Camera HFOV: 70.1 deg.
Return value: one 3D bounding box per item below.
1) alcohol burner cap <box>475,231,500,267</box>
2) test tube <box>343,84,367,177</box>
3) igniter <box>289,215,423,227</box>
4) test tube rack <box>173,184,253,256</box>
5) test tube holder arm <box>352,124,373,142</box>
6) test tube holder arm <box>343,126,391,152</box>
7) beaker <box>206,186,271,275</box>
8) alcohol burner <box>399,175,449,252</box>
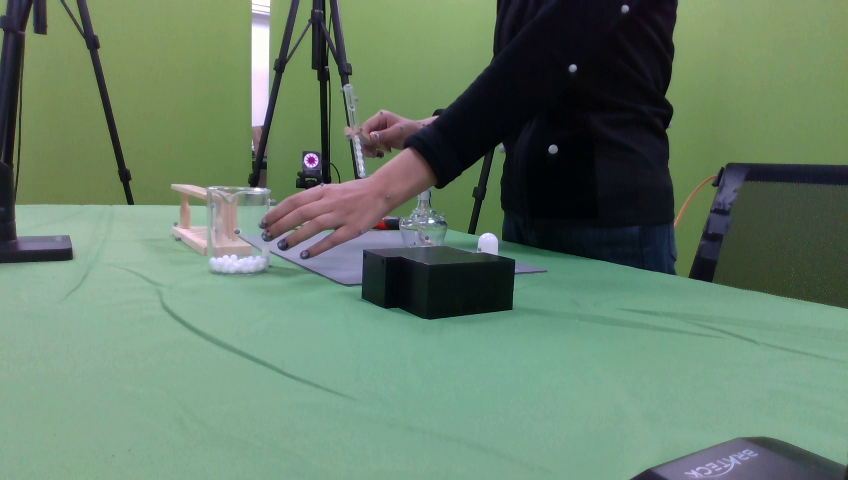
[{"bbox_3d":[0.088,0.012,0.830,0.034,0.048,0.034,2,6,0],"label":"alcohol burner cap"},{"bbox_3d":[-0.109,-0.174,0.955,0.017,0.150,0.017,-10,-4,0],"label":"test tube"},{"bbox_3d":[-0.133,-0.038,1.231,0.278,0.025,0.057,-1,-2,-26],"label":"igniter"},{"bbox_3d":[-0.329,-0.036,0.927,0.067,0.085,0.241,-2,9,-32],"label":"test tube rack"},{"bbox_3d":[-0.099,-0.171,0.976,0.010,0.015,0.088,-9,-3,9],"label":"test tube holder arm"},{"bbox_3d":[-0.093,-0.169,1.021,0.013,0.015,0.179,-9,-3,17],"label":"test tube holder arm"},{"bbox_3d":[-0.221,-0.012,0.717,0.074,0.100,0.084,2,8,-3],"label":"beaker"},{"bbox_3d":[0.000,-0.041,0.937,0.078,0.119,0.078,0,7,0],"label":"alcohol burner"}]
